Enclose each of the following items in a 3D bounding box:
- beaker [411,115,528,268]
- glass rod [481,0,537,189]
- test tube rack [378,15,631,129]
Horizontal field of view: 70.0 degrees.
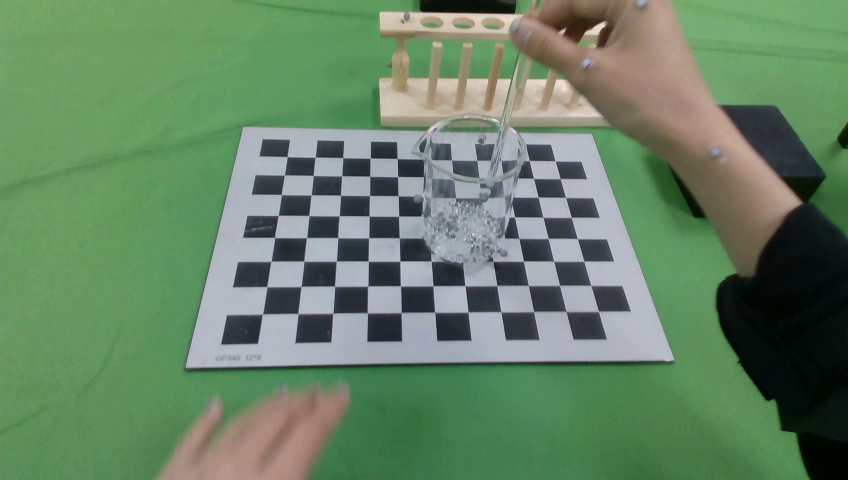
[{"bbox_3d":[0.030,-0.033,0.465,0.084,0.101,0.073,1,48,-3],"label":"beaker"},{"bbox_3d":[0.055,-0.104,0.377,0.008,0.201,0.008,4,50,-4],"label":"glass rod"},{"bbox_3d":[0.077,-0.164,0.600,0.243,0.086,0.066,-1,48,-6],"label":"test tube rack"}]
